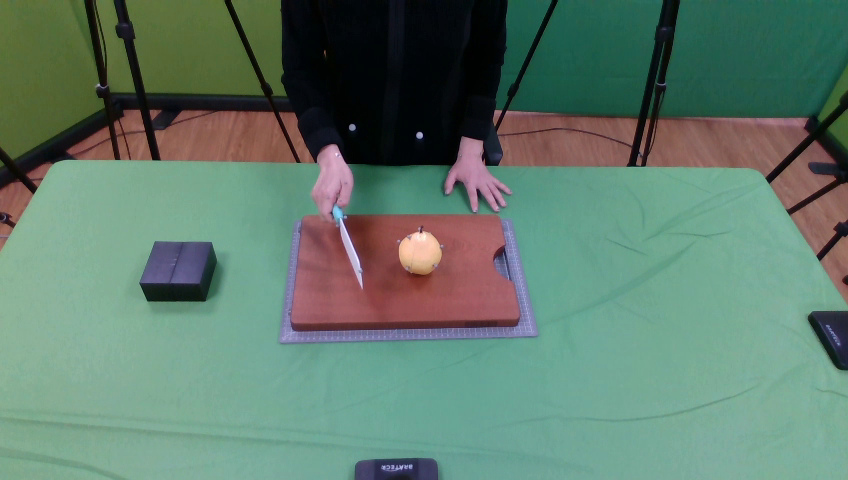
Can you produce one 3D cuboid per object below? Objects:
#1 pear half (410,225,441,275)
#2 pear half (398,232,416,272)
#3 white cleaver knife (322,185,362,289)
[{"bbox_3d":[0.004,0.013,1.085,0.056,0.110,0.076,2,51,-3],"label":"pear half"},{"bbox_3d":[-0.031,0.018,1.092,0.031,0.088,0.070,1,51,-2],"label":"pear half"},{"bbox_3d":[-0.149,-0.013,1.081,0.021,0.066,0.284,-10,36,-14],"label":"white cleaver knife"}]
